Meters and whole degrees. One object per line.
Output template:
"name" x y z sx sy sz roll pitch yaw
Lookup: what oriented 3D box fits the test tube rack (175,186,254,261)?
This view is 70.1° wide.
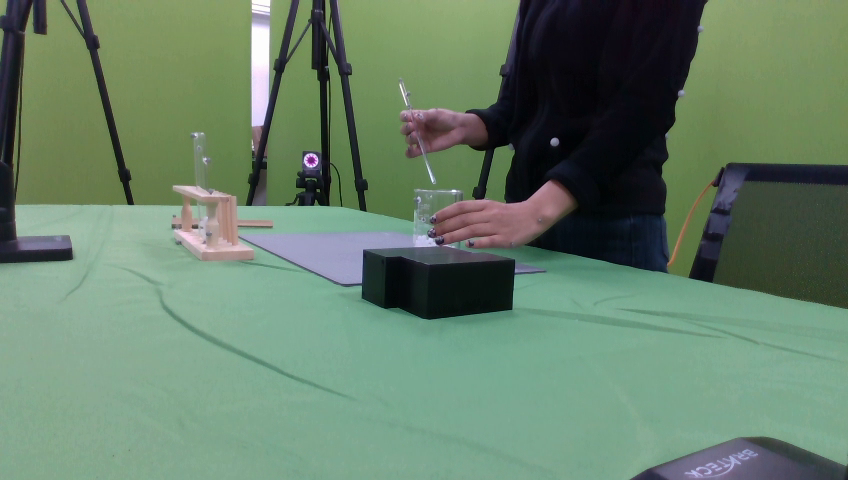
"test tube rack" -0.314 -0.031 0.889 0.067 0.085 0.241 -2 8 -30

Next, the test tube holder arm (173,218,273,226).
"test tube holder arm" -0.371 -0.033 1.128 0.179 0.015 0.013 -1 -21 -25

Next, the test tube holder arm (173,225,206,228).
"test tube holder arm" -0.414 -0.030 1.113 0.088 0.015 0.010 -1 -21 -25

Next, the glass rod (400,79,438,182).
"glass rod" -0.009 -0.181 0.983 0.008 0.199 0.008 -17 -20 -6

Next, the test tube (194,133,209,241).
"test tube" -0.307 -0.074 0.842 0.017 0.150 0.017 -3 2 0

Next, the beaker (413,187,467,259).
"beaker" 0.019 -0.026 0.878 0.074 0.100 0.083 -1 8 -27
